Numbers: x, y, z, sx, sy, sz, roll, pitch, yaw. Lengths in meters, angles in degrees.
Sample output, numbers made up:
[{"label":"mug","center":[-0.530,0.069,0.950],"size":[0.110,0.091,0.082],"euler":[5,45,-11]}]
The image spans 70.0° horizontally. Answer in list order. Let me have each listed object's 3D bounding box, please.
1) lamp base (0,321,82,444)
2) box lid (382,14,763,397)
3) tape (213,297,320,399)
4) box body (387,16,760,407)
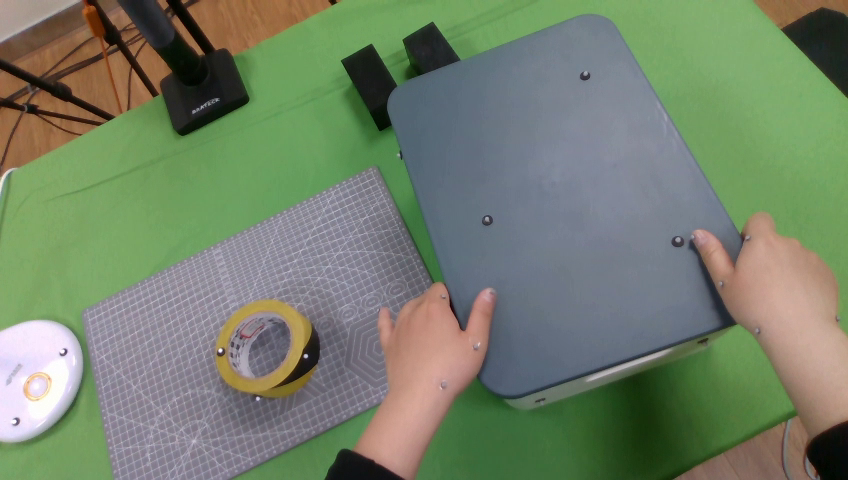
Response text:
[{"label":"lamp base","center":[-0.552,0.153,0.730],"size":[0.178,0.182,0.160],"euler":[9,70,18]},{"label":"box lid","center":[0.122,-0.058,0.594],"size":[0.263,0.015,0.368],"euler":[-20,64,2]},{"label":"tape","center":[-0.189,0.130,0.729],"size":[0.116,0.053,0.116],"euler":[-4,67,10]},{"label":"box body","center":[0.139,-0.025,0.664],"size":[0.254,0.162,0.360],"euler":[-21,65,3]}]
